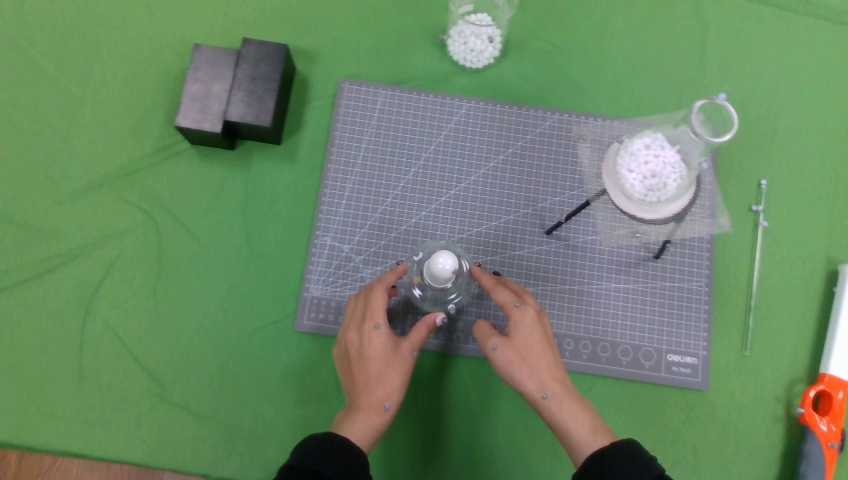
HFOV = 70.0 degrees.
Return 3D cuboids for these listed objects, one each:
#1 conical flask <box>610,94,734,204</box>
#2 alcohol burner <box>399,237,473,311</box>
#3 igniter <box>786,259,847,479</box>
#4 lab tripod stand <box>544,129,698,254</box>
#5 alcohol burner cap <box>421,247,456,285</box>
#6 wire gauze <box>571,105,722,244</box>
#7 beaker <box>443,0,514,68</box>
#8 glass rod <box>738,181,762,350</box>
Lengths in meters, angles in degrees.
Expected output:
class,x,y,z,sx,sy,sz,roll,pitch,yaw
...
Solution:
class,x,y,z,sx,sy,sz,roll,pitch,yaw
conical flask,0.210,-0.079,0.506,0.075,0.122,0.075,0,80,-2
alcohol burner,0.014,0.032,0.613,0.078,0.119,0.077,1,79,-3
igniter,0.431,0.152,0.650,0.057,0.025,0.275,22,78,-8
lab tripod stand,0.207,-0.045,0.627,0.148,0.132,0.148,0,79,-1
alcohol burner cap,0.016,0.023,0.578,0.034,0.048,0.033,2,75,-7
wire gauze,0.208,-0.061,0.563,0.125,0.011,0.121,-8,81,-5
beaker,0.061,-0.250,0.686,0.084,0.100,0.073,-32,81,-9
glass rod,0.368,0.025,0.685,0.008,0.008,0.199,13,78,1
